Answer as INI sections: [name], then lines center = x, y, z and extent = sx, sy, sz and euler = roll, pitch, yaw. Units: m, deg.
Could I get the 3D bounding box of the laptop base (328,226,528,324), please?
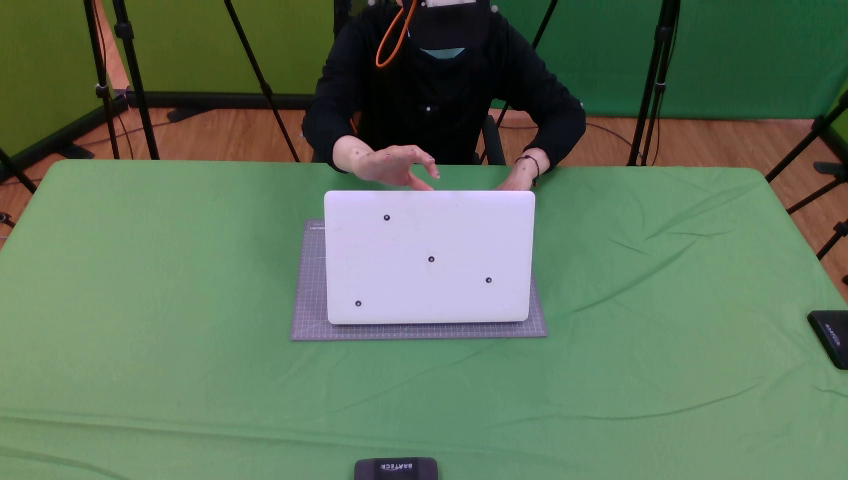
[laptop base]
center = 0.005, 0.061, 1.136
extent = 0.355, 0.023, 0.234
euler = 0, 43, -4

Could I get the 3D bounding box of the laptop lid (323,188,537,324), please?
[laptop lid]
center = 0.012, 0.029, 1.018
extent = 0.357, 0.242, 0.013
euler = 1, 16, -5
